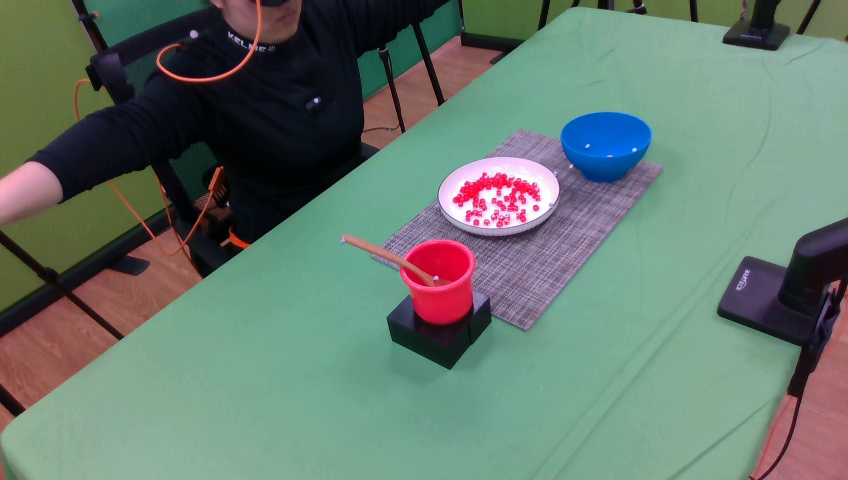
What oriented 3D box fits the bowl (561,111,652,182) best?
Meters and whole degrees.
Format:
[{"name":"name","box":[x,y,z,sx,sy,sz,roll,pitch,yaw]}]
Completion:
[{"name":"bowl","box":[0.314,-0.153,1.054,0.151,0.077,0.150,-5,40,5]}]

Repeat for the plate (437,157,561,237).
[{"name":"plate","box":[0.127,-0.070,1.023,0.207,0.039,0.206,-5,40,5]}]

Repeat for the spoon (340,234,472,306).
[{"name":"spoon","box":[-0.020,0.036,0.770,0.195,0.021,0.041,31,37,-21]}]
